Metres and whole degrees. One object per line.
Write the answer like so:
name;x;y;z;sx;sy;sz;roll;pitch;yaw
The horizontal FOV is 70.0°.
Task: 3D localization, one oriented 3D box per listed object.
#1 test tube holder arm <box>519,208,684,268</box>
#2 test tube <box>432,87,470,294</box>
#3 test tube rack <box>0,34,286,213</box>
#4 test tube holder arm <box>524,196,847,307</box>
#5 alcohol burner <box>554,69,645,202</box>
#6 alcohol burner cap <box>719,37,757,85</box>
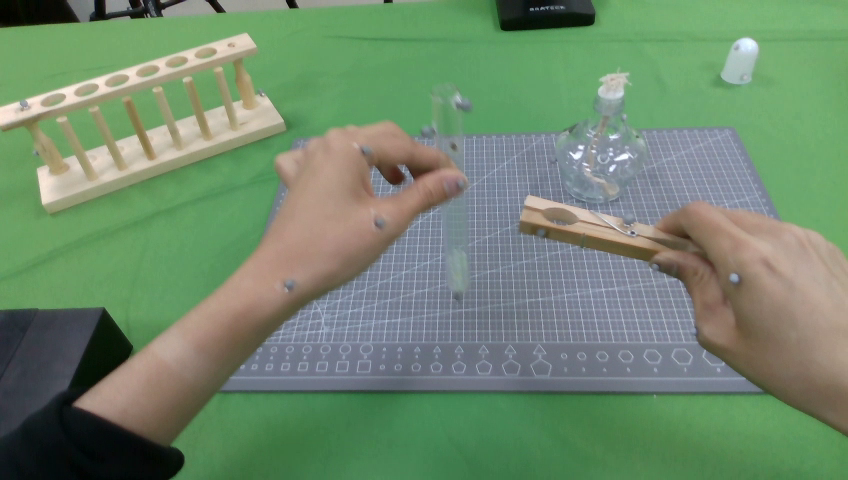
test tube holder arm;0.095;-0.001;0.330;0.087;0.015;0.010;13;62;13
test tube;0.017;-0.021;0.359;0.017;0.151;0.017;-3;44;3
test tube rack;-0.272;-0.120;0.608;0.242;0.086;0.066;-24;49;-17
test tube holder arm;0.140;0.006;0.323;0.178;0.015;0.013;15;63;14
alcohol burner;0.153;-0.092;0.522;0.078;0.120;0.077;-2;45;2
alcohol burner cap;0.344;-0.196;0.659;0.034;0.048;0.033;-4;47;4
